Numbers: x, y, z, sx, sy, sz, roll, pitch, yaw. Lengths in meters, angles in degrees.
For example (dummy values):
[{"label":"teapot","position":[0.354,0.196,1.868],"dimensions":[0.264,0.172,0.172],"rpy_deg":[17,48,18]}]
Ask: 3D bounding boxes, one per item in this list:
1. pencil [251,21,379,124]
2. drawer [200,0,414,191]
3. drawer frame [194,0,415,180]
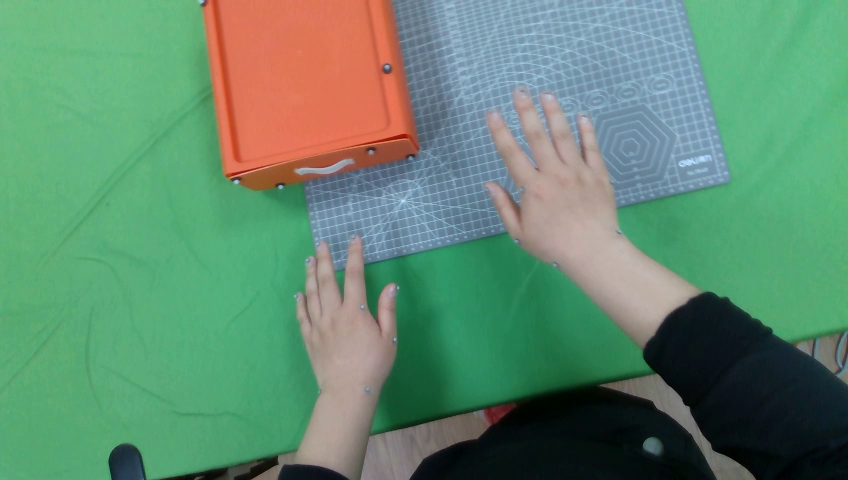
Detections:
[{"label":"pencil","position":[-0.123,-0.189,0.683],"dimensions":[0.193,0.012,0.012],"rpy_deg":[40,91,10]},{"label":"drawer","position":[-0.127,-0.176,0.661],"dimensions":[0.194,0.073,0.211],"rpy_deg":[-12,82,8]},{"label":"drawer frame","position":[-0.130,-0.181,0.661],"dimensions":[0.201,0.083,0.213],"rpy_deg":[-13,82,8]}]
